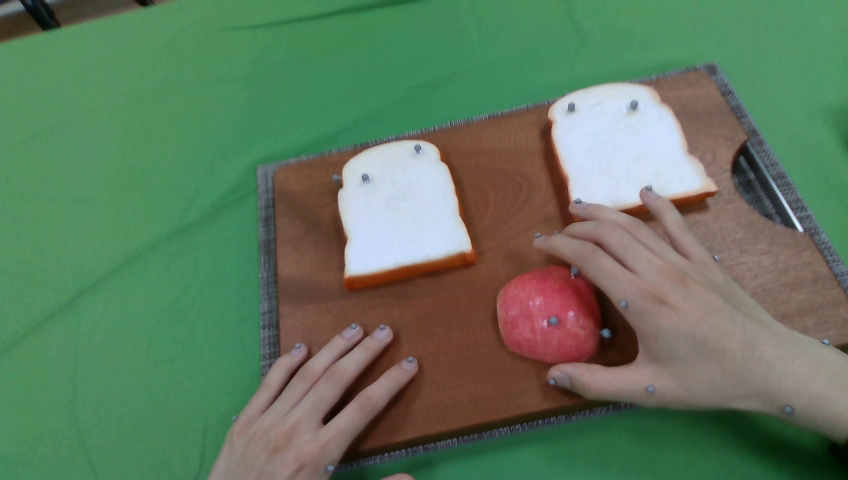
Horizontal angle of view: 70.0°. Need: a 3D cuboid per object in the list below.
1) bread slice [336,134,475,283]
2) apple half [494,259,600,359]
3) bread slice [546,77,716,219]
[{"bbox_3d":[-0.024,-0.032,0.497,0.105,0.019,0.130,-13,59,0],"label":"bread slice"},{"bbox_3d":[0.087,0.042,0.423,0.081,0.033,0.080,-2,60,4],"label":"apple half"},{"bbox_3d":[0.155,-0.080,0.494,0.107,0.018,0.133,-14,57,1],"label":"bread slice"}]
